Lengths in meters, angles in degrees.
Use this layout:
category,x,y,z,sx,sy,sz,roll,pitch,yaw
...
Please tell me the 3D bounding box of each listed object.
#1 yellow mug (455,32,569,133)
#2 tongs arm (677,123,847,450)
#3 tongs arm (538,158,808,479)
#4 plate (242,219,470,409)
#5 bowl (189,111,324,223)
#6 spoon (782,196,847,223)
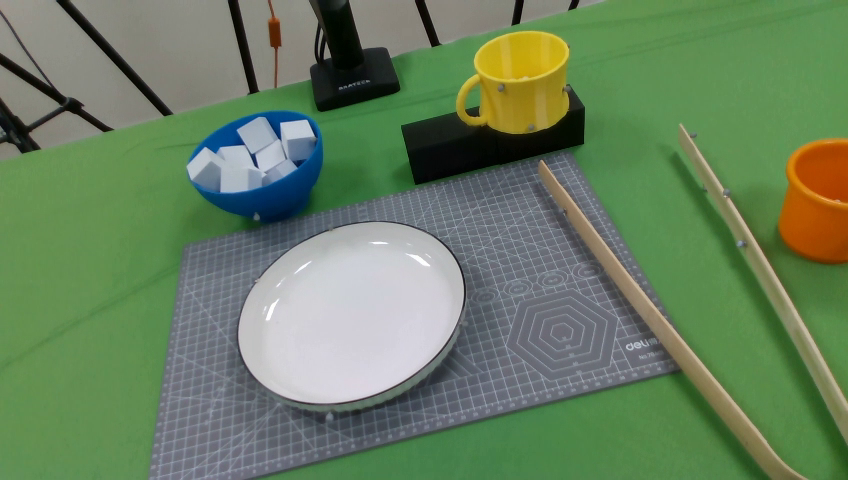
category,x,y,z,sx,sy,sz,roll,pitch,yaw
yellow mug,0.092,-0.165,0.655,0.131,0.064,0.099,-26,45,-10
tongs arm,0.268,0.024,0.519,0.051,0.027,0.380,-10,46,3
tongs arm,0.188,0.044,0.520,0.028,0.028,0.383,-17,46,-9
plate,-0.059,0.064,0.553,0.207,0.039,0.205,-7,45,7
bowl,-0.179,-0.073,0.692,0.151,0.077,0.150,-7,45,7
spoon,0.362,-0.035,0.472,0.041,0.193,0.021,-31,91,-13
